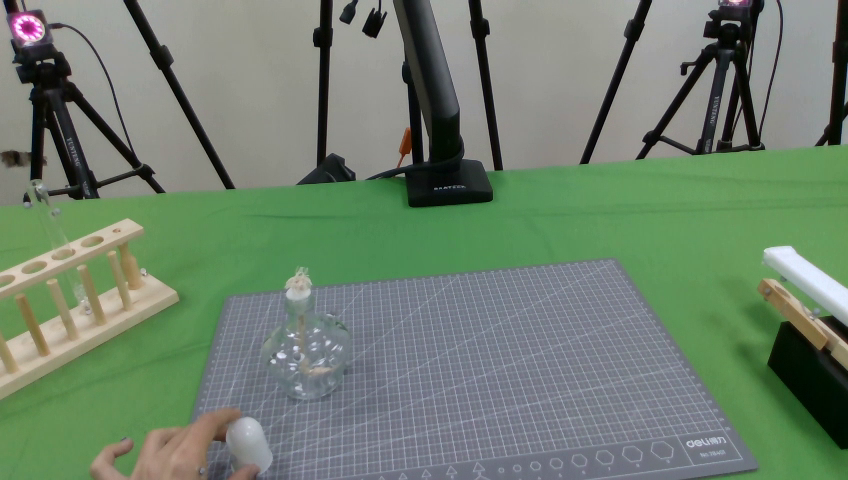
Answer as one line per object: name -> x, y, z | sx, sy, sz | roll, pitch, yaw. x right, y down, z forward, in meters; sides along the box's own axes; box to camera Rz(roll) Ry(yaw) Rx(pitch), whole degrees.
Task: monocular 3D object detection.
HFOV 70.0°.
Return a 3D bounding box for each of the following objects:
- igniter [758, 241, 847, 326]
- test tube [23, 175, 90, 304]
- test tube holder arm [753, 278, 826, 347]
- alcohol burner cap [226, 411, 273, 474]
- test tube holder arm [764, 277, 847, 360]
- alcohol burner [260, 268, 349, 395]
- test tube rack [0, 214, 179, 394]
igniter -> 0.376, 0.073, 0.504 | 0.057, 0.025, 0.274 | -6, 29, -6
test tube -> -0.360, 0.004, 0.600 | 0.017, 0.151, 0.017 | -1, 35, 1
test tube holder arm -> 0.322, 0.062, 0.533 | 0.010, 0.015, 0.087 | -9, 31, -8
alcohol burner cap -> -0.140, 0.156, 0.475 | 0.034, 0.048, 0.033 | -1, 33, 1
test tube holder arm -> 0.338, 0.083, 0.496 | 0.013, 0.015, 0.176 | -10, 32, -10
alcohol burner -> -0.106, 0.076, 0.532 | 0.078, 0.120, 0.077 | -1, 30, 1
test tube rack -> -0.376, 0.069, 0.592 | 0.066, 0.086, 0.242 | 22, 40, 33
